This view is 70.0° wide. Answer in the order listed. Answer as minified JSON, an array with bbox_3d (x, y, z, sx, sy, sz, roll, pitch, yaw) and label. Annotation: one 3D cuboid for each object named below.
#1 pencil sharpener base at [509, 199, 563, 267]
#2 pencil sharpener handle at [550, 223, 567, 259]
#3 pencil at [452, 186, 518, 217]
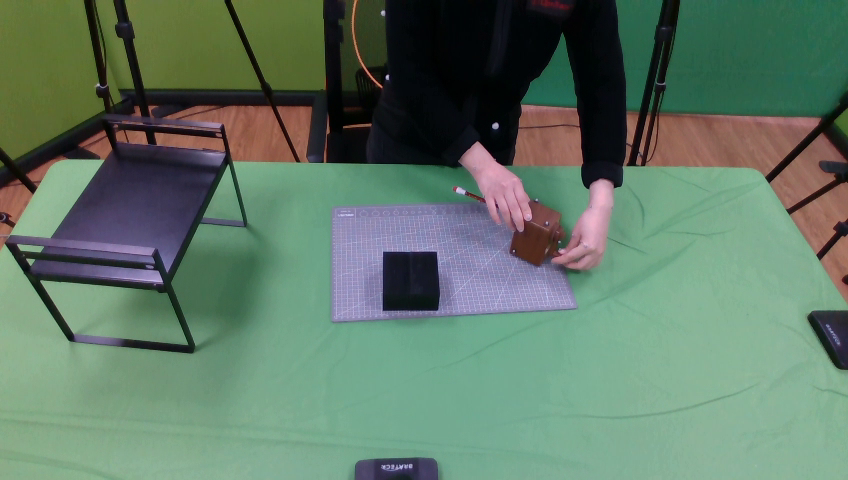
[{"bbox_3d":[0.216,-0.012,1.160,0.076,0.107,0.061,27,50,21],"label":"pencil sharpener base"},{"bbox_3d":[0.257,0.003,1.131,0.030,0.068,0.036,27,37,21],"label":"pencil sharpener handle"},{"bbox_3d":[0.139,-0.067,1.177,0.193,0.012,0.012,25,50,23],"label":"pencil"}]
